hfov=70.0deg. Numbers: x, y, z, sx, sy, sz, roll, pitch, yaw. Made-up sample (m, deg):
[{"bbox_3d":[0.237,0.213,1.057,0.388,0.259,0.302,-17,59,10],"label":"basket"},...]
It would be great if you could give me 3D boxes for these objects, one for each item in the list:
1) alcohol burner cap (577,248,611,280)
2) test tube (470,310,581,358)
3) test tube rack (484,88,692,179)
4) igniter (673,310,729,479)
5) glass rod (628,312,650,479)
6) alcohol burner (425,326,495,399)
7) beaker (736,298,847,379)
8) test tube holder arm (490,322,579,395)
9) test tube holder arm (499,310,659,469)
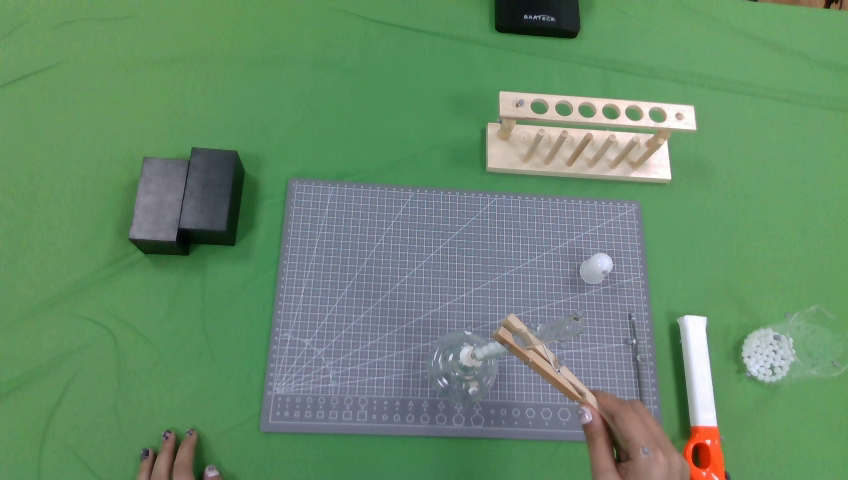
[{"bbox_3d":[0.208,0.027,0.731,0.034,0.048,0.033,2,71,-5],"label":"alcohol burner cap"},{"bbox_3d":[0.077,0.080,0.499,0.017,0.150,0.017,8,69,-23],"label":"test tube"},{"bbox_3d":[0.203,-0.132,0.764,0.243,0.085,0.066,3,71,-5],"label":"test tube rack"},{"bbox_3d":[0.314,0.216,0.689,0.057,0.025,0.274,7,71,-15],"label":"igniter"},{"bbox_3d":[0.249,0.181,0.701,0.008,0.008,0.198,3,71,-6],"label":"glass rod"},{"bbox_3d":[0.041,0.126,0.641,0.078,0.120,0.077,2,69,-5],"label":"alcohol burner"},{"bbox_3d":[0.418,0.117,0.697,0.074,0.101,0.083,16,69,0],"label":"beaker"},{"bbox_3d":[0.092,0.099,0.499,0.088,0.015,0.010,37,64,-4],"label":"test tube holder arm"},{"bbox_3d":[0.129,0.125,0.503,0.178,0.015,0.013,44,65,-1],"label":"test tube holder arm"}]
